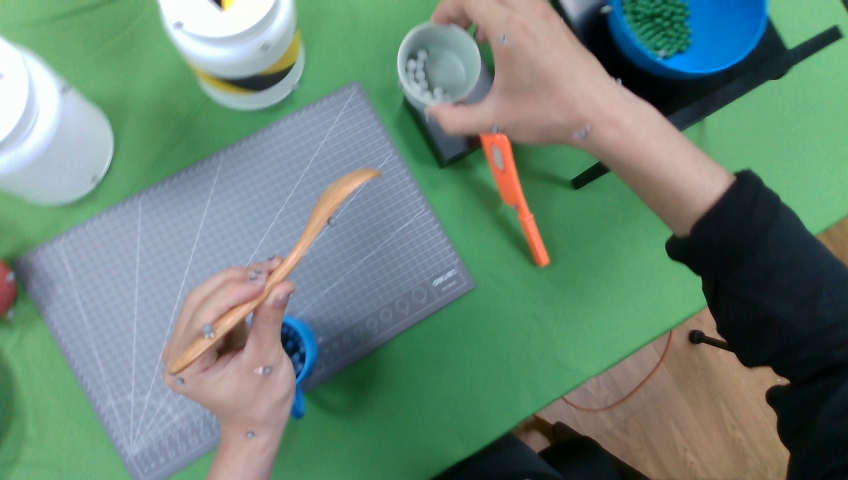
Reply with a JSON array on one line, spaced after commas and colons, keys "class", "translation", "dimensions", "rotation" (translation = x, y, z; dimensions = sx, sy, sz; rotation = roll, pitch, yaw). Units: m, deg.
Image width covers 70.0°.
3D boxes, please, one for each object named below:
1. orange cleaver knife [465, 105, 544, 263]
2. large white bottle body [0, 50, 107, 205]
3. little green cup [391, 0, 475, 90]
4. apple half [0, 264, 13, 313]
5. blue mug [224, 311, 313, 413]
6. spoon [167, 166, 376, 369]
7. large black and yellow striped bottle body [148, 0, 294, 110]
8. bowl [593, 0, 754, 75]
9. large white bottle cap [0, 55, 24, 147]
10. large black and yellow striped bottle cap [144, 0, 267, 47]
[{"class": "orange cleaver knife", "translation": [0.097, -0.065, 0.730], "dimensions": [0.012, 0.076, 0.213], "rotation": [-31, 119, -10]}, {"class": "large white bottle body", "translation": [-0.429, -0.115, 0.623], "dimensions": [0.131, 0.185, 0.130], "rotation": [1, 83, -6]}, {"class": "little green cup", "translation": [0.008, -0.142, 0.449], "dimensions": [0.061, 0.039, 0.061], "rotation": [0, 86, 5]}, {"class": "apple half", "translation": [-0.484, 0.062, 0.654], "dimensions": [0.053, 0.074, 0.080], "rotation": [46, 77, -4]}, {"class": "blue mug", "translation": [-0.161, 0.135, 0.666], "dimensions": [0.082, 0.106, 0.116], "rotation": [-22, 87, -9]}, {"class": "spoon", "translation": [-0.093, 0.010, 0.397], "dimensions": [0.022, 0.041, 0.193], "rotation": [49, 57, -23]}, {"class": "large black and yellow striped bottle body", "translation": [-0.217, -0.231, 0.661], "dimensions": [0.131, 0.184, 0.130], "rotation": [1, 83, -6]}, {"class": "bowl", "translation": [0.225, -0.223, 0.586], "dimensions": [0.151, 0.077, 0.151], "rotation": [1, 84, -6]}, {"class": "large white bottle cap", "translation": [-0.421, -0.125, 0.539], "dimensions": [0.115, 0.018, 0.114], "rotation": [1, 84, -6]}, {"class": "large black and yellow striped bottle cap", "translation": [-0.209, -0.243, 0.578], "dimensions": [0.115, 0.019, 0.114], "rotation": [1, 85, -8]}]
